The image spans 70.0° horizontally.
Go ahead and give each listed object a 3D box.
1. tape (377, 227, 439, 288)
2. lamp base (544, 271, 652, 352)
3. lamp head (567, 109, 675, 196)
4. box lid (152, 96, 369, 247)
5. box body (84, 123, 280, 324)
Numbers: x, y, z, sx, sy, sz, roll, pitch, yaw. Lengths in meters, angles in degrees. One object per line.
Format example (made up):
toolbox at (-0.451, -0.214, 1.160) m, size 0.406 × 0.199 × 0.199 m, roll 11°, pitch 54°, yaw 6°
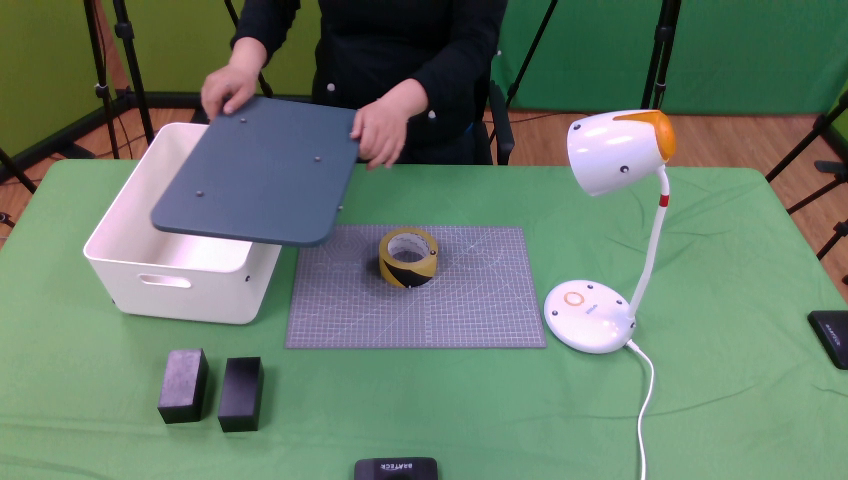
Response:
tape at (-0.031, 0.032, 1.140) m, size 0.117 × 0.053 × 0.116 m, roll 2°, pitch 46°, yaw -1°
lamp base at (0.310, 0.086, 1.029) m, size 0.178 × 0.181 × 0.160 m, roll 32°, pitch 52°, yaw 21°
lamp head at (0.272, -0.123, 0.818) m, size 0.122 × 0.113 × 0.112 m, roll -9°, pitch 35°, yaw 37°
box lid at (-0.246, -0.125, 0.984) m, size 0.263 × 0.015 × 0.369 m, roll 6°, pitch 43°, yaw 3°
box body at (-0.393, -0.035, 1.104) m, size 0.254 × 0.161 × 0.362 m, roll 5°, pitch 46°, yaw 1°
